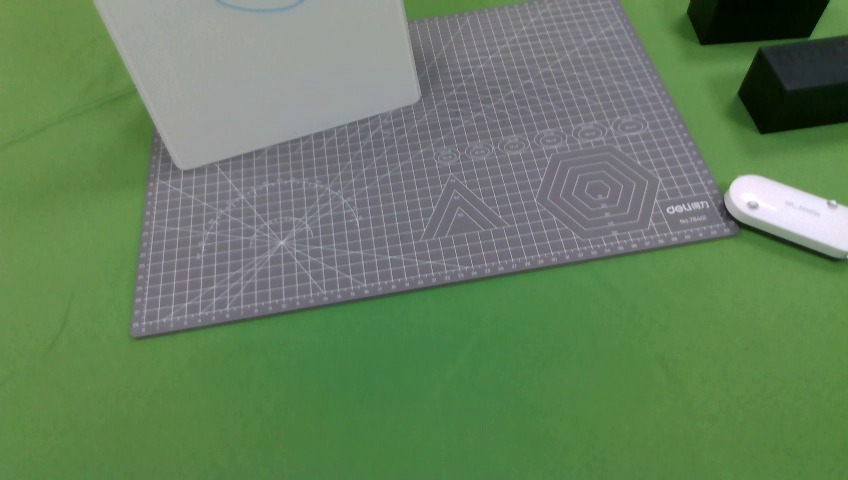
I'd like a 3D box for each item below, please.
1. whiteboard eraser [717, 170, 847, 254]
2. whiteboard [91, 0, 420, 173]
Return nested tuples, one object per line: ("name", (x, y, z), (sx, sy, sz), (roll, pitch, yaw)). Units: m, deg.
("whiteboard eraser", (0.271, -0.021, 0.445), (0.101, 0.019, 0.041), (23, 62, 17))
("whiteboard", (-0.149, -0.245, 0.476), (0.217, 0.308, 0.142), (-18, 39, -7))
